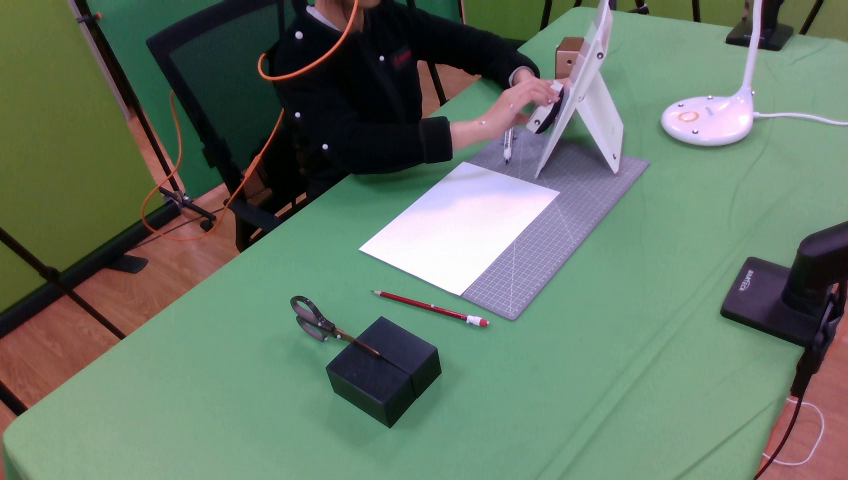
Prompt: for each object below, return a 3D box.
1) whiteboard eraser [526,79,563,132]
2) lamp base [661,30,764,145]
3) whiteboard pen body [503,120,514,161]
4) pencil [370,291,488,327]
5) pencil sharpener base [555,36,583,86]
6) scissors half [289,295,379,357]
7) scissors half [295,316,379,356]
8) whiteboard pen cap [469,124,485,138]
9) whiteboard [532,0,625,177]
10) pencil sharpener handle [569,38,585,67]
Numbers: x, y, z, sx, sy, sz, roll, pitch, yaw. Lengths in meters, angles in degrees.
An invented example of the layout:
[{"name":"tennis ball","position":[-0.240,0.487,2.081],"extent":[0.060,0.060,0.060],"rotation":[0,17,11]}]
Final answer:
[{"name":"whiteboard eraser","position":[0.225,-0.246,1.110],"extent":[0.042,0.055,0.112],"rotation":[31,46,-2]},{"name":"lamp base","position":[0.535,-0.287,1.096],"extent":[0.179,0.181,0.159],"rotation":[-10,40,-4]},{"name":"whiteboard pen body","position":[0.164,-0.193,1.176],"extent":[0.017,0.017,0.140],"rotation":[0,41,11]},{"name":"pencil","position":[0.003,0.097,0.877],"extent":[0.193,0.012,0.012],"rotation":[13,45,26]},{"name":"pencil sharpener base","position":[0.318,-0.371,1.290],"extent":[0.061,0.107,0.076],"rotation":[10,44,22]},{"name":"scissors half","position":[-0.122,0.114,0.803],"extent":[0.174,0.040,0.013],"rotation":[26,50,32]},{"name":"scissors half","position":[-0.119,0.131,0.813],"extent":[0.173,0.040,0.013],"rotation":[9,34,45]},{"name":"whiteboard pen cap","position":[0.107,-0.220,1.224],"extent":[0.033,0.018,0.018],"rotation":[-37,47,-24]},{"name":"whiteboard","position":[0.320,-0.258,1.050],"extent":[0.144,0.306,0.217],"rotation":[21,45,4]},{"name":"pencil sharpener handle","position":[0.333,-0.413,1.318],"extent":[0.036,0.068,0.030],"rotation":[19,47,13]}]
